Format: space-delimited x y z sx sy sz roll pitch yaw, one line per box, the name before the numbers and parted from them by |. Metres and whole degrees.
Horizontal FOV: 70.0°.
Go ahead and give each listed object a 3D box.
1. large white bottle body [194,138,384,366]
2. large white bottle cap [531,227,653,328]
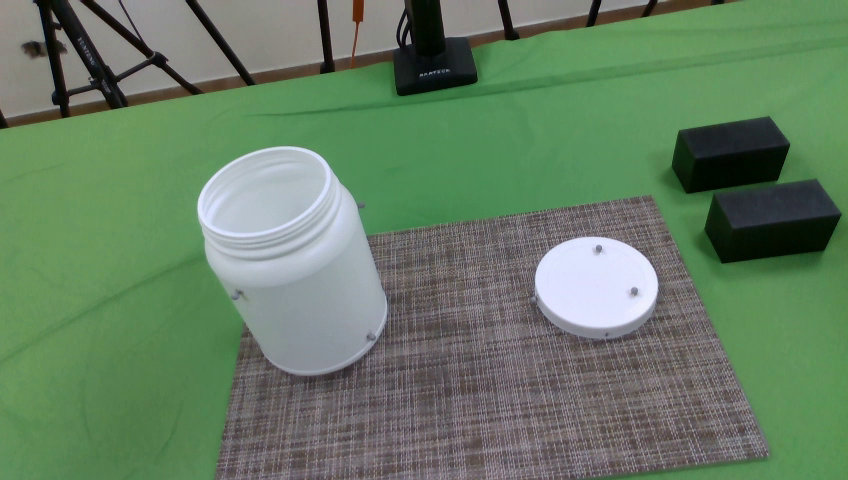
large white bottle body | -0.116 0.013 0.545 0.130 0.186 0.129 -6 47 6
large white bottle cap | 0.162 0.034 0.589 0.115 0.018 0.113 -5 48 6
